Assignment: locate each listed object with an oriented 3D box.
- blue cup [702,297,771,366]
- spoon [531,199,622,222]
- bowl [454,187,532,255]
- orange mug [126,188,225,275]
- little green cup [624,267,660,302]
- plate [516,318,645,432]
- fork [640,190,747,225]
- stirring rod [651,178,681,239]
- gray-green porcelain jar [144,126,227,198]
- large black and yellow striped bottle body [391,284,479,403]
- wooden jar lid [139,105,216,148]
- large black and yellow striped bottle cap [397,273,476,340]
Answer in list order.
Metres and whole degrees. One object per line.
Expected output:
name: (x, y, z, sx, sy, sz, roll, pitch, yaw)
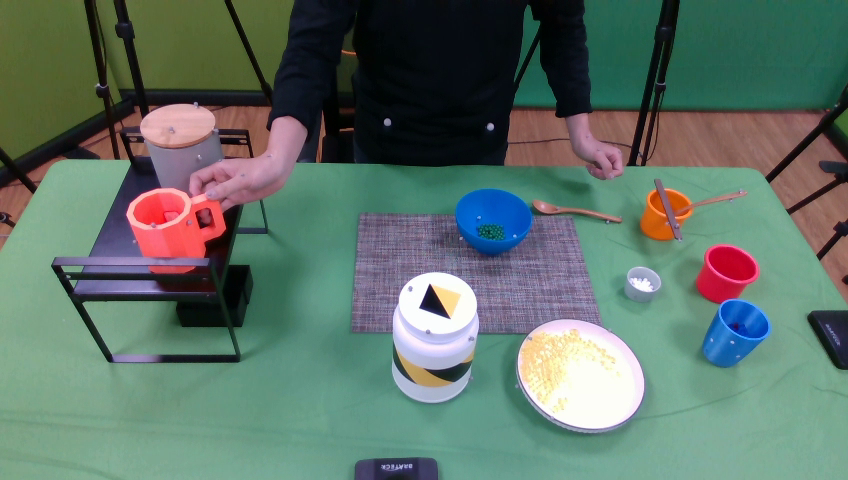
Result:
blue cup: (0.519, 0.162, 1.025, 0.093, 0.101, 0.092, 3, 45, -3)
spoon: (0.321, -0.060, 1.279, 0.194, 0.022, 0.041, 8, 32, 4)
bowl: (0.131, -0.025, 1.187, 0.151, 0.077, 0.150, 2, 46, -2)
orange mug: (-0.357, -0.020, 0.885, 0.126, 0.101, 0.083, -29, 54, -23)
little green cup: (0.406, 0.084, 1.135, 0.061, 0.039, 0.061, 3, 46, -3)
plate: (0.253, 0.221, 0.992, 0.209, 0.038, 0.208, 2, 46, -2)
fork: (0.533, -0.065, 1.211, 0.207, 0.019, 0.028, -22, 28, 39)
stirring rod: (0.479, -0.065, 1.204, 0.014, 0.006, 0.175, 3, 46, -3)
gray-green porcelain jar: (-0.375, -0.125, 0.966, 0.106, 0.127, 0.105, 2, 46, -2)
large black and yellow striped bottle body: (0.015, 0.153, 0.938, 0.131, 0.185, 0.130, 2, 46, -2)
wooden jar lid: (-0.372, -0.169, 0.920, 0.108, 0.021, 0.107, 4, 44, -4)
large black and yellow striped bottle cap: (0.018, 0.094, 0.878, 0.115, 0.019, 0.114, 3, 46, -3)
